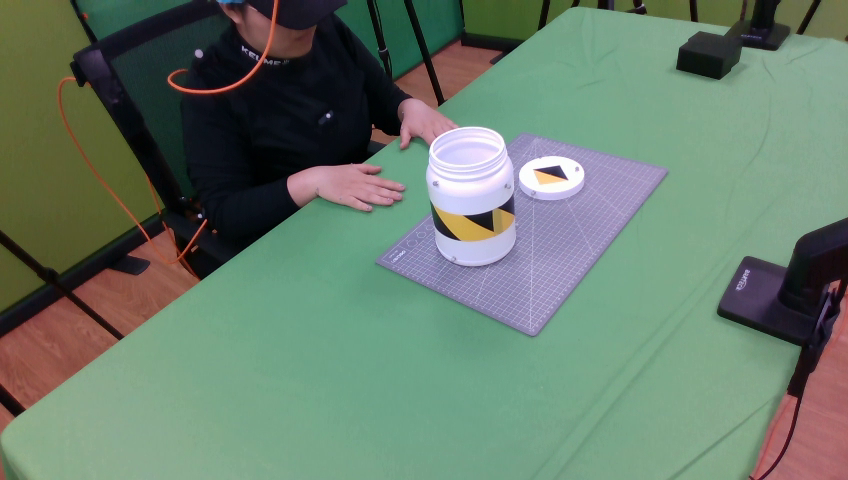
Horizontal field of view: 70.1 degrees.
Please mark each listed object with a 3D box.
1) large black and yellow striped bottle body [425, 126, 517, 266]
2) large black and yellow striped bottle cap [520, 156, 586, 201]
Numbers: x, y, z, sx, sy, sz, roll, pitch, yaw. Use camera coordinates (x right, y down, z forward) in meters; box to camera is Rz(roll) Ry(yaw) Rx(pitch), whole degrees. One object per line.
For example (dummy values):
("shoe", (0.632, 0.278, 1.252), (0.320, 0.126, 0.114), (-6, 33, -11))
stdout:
("large black and yellow striped bottle body", (0.072, -0.066, 0.917), (0.131, 0.185, 0.130), (-5, 40, 5))
("large black and yellow striped bottle cap", (0.228, -0.111, 1.072), (0.115, 0.019, 0.114), (-6, 40, 6))
